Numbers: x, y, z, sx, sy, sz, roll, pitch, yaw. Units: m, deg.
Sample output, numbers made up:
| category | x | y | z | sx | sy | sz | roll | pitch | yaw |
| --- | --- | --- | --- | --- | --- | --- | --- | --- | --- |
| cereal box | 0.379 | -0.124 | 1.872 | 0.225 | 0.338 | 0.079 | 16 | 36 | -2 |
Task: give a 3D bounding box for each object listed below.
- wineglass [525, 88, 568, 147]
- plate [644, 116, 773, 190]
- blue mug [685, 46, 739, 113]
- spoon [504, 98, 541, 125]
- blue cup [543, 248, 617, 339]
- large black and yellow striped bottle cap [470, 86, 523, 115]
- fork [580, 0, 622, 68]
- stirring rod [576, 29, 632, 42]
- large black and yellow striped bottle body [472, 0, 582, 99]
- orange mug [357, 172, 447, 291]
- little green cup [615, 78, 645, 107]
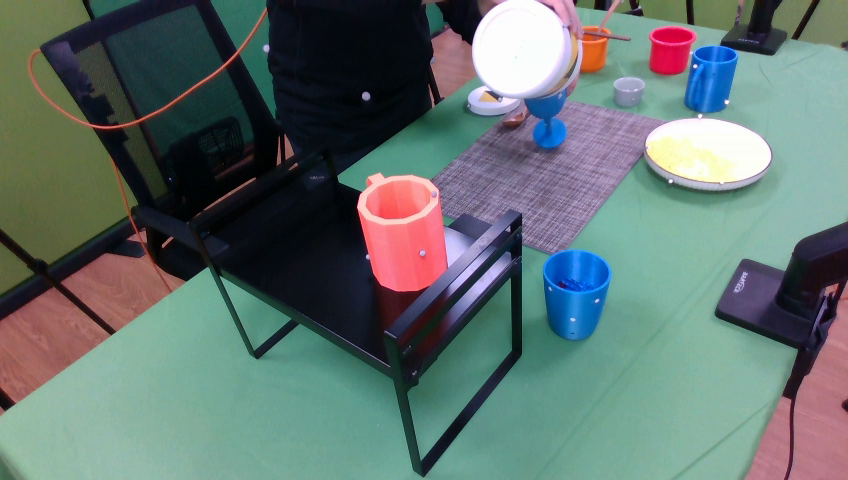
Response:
| category | x | y | z | sx | sy | sz | roll | pitch | yaw |
| --- | --- | --- | --- | --- | --- | --- | --- | --- | --- |
| wineglass | 0.220 | -0.235 | 1.077 | 0.073 | 0.173 | 0.073 | -5 | 69 | 14 |
| plate | 0.495 | -0.149 | 1.063 | 0.209 | 0.038 | 0.208 | -5 | 40 | 4 |
| blue mug | 0.556 | -0.310 | 1.190 | 0.117 | 0.106 | 0.081 | -32 | 46 | -25 |
| spoon | 0.227 | -0.285 | 1.269 | 0.041 | 0.022 | 0.194 | 2 | 36 | 45 |
| blue cup | 0.199 | 0.076 | 0.797 | 0.092 | 0.100 | 0.092 | -4 | 39 | 4 |
| large black and yellow striped bottle cap | 0.156 | -0.308 | 1.316 | 0.115 | 0.019 | 0.114 | -7 | 39 | 6 |
| fork | 0.409 | -0.484 | 1.381 | 0.028 | 0.019 | 0.207 | 37 | 101 | 46 |
| stirring rod | 0.381 | -0.463 | 1.356 | 0.175 | 0.006 | 0.014 | 22 | 47 | 30 |
| large black and yellow striped bottle body | 0.162 | -0.279 | 0.903 | 0.130 | 0.131 | 0.185 | 12 | 17 | 22 |
| orange mug | -0.030 | -0.018 | 0.669 | 0.084 | 0.101 | 0.125 | -23 | 47 | -16 |
| little green cup | 0.426 | -0.306 | 1.257 | 0.061 | 0.039 | 0.061 | -4 | 40 | 4 |
